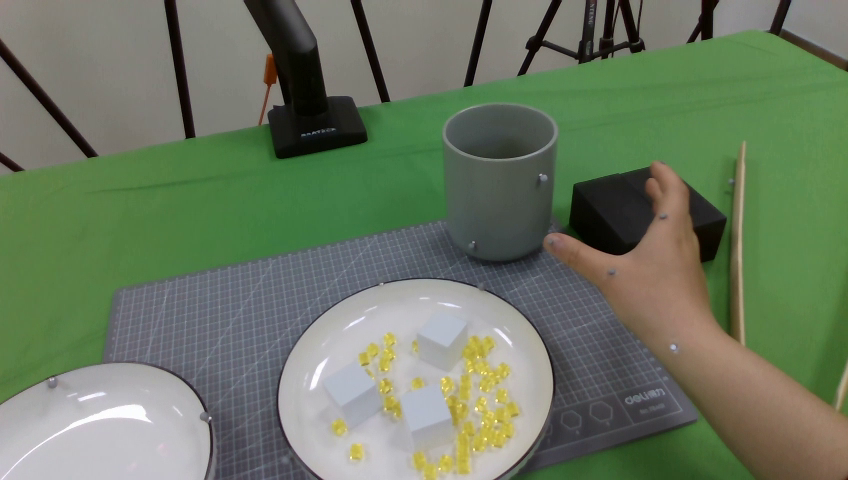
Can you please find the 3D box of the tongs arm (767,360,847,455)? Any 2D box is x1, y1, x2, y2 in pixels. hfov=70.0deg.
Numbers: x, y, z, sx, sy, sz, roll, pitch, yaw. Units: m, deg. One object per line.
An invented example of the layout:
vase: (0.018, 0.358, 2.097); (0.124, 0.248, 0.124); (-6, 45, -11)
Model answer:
tongs arm: (0.371, 0.038, 0.531); (0.050, 0.027, 0.384); (21, 47, 28)

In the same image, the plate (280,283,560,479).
plate: (-0.002, 0.116, 0.465); (0.207, 0.039, 0.205); (-3, 39, 2)

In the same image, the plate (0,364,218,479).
plate: (-0.243, 0.178, 0.414); (0.209, 0.038, 0.207); (-4, 40, 3)

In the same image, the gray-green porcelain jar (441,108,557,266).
gray-green porcelain jar: (0.071, -0.047, 0.584); (0.106, 0.127, 0.105); (-3, 40, 3)

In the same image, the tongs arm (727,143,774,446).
tongs arm: (0.300, 0.018, 0.566); (0.028, 0.028, 0.385); (13, 43, 16)
